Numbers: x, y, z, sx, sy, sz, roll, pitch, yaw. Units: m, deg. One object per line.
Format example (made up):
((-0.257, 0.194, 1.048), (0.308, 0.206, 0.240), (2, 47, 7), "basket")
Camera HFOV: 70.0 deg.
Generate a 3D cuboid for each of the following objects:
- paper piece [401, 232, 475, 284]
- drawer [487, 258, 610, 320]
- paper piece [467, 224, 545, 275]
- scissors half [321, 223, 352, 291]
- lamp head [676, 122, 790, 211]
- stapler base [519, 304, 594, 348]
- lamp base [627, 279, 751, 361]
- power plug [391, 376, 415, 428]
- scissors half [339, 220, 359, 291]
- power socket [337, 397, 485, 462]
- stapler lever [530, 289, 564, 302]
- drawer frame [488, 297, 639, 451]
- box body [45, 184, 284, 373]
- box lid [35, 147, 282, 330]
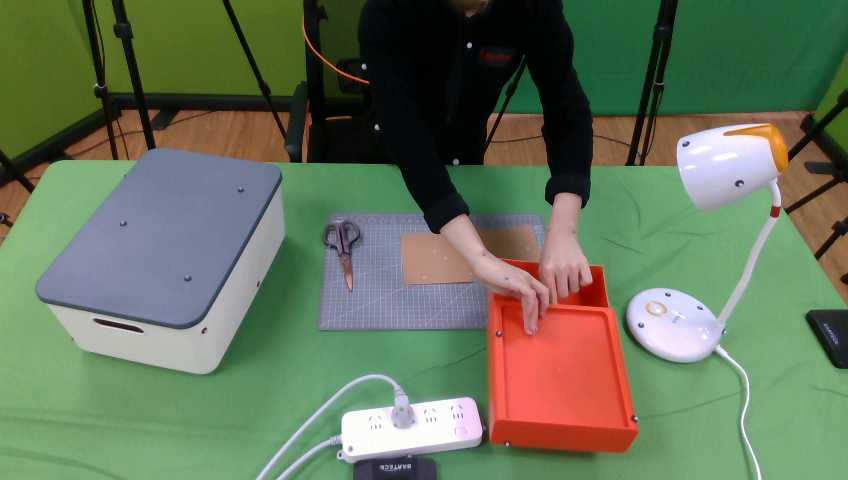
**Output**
((0.025, 0.032, 1.175), (0.135, 0.004, 0.135), (0, 46, -6), "paper piece")
((0.204, 0.133, 0.986), (0.194, 0.073, 0.210), (5, 47, -1), "drawer")
((0.163, 0.019, 1.199), (0.136, 0.009, 0.137), (-1, 44, -10), "paper piece")
((-0.163, 0.031, 1.160), (0.040, 0.013, 0.174), (-17, 51, -14), "scissors half")
((0.423, -0.104, 0.819), (0.122, 0.113, 0.112), (-13, 33, 40), "lamp head")
((0.223, 0.134, 1.001), (0.130, 0.024, 0.041), (26, 24, 8), "stapler base")
((0.460, 0.100, 1.026), (0.178, 0.181, 0.160), (27, 51, 17), "lamp base")
((-0.030, 0.249, 0.917), (0.035, 0.053, 0.072), (3, 46, 0), "power plug")
((-0.144, 0.026, 1.162), (0.040, 0.013, 0.174), (-8, 50, 1), "scissors half")
((-0.018, 0.285, 0.915), (0.227, 0.033, 0.071), (-5, 46, -8), "power socket")
((0.230, 0.117, 0.994), (0.118, 0.040, 0.027), (20, 24, 10), "stapler lever")
((0.201, 0.198, 0.919), (0.202, 0.083, 0.212), (4, 47, -1), "drawer frame")
((-0.414, 0.029, 1.039), (0.254, 0.161, 0.362), (10, 46, 5), "box body")
((-0.411, -0.023, 0.987), (0.263, 0.015, 0.369), (10, 47, 5), "box lid")
